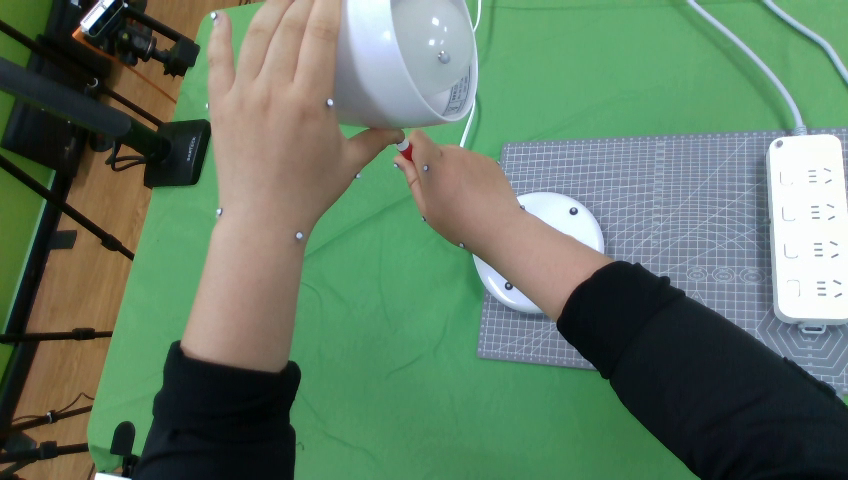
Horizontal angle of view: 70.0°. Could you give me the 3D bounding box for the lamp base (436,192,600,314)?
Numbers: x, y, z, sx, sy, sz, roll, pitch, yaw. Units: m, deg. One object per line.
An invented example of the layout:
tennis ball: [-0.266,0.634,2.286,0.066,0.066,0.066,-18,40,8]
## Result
lamp base: [0.097,-0.010,0.695,0.178,0.182,0.159,-5,69,24]

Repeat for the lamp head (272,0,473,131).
lamp head: [-0.039,-0.121,0.416,0.122,0.113,0.111,-10,67,35]

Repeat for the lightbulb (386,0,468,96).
lightbulb: [-0.022,-0.122,0.397,0.107,0.060,0.059,2,72,31]

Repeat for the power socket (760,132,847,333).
power socket: [0.409,-0.015,0.654,0.072,0.033,0.225,0,71,21]
